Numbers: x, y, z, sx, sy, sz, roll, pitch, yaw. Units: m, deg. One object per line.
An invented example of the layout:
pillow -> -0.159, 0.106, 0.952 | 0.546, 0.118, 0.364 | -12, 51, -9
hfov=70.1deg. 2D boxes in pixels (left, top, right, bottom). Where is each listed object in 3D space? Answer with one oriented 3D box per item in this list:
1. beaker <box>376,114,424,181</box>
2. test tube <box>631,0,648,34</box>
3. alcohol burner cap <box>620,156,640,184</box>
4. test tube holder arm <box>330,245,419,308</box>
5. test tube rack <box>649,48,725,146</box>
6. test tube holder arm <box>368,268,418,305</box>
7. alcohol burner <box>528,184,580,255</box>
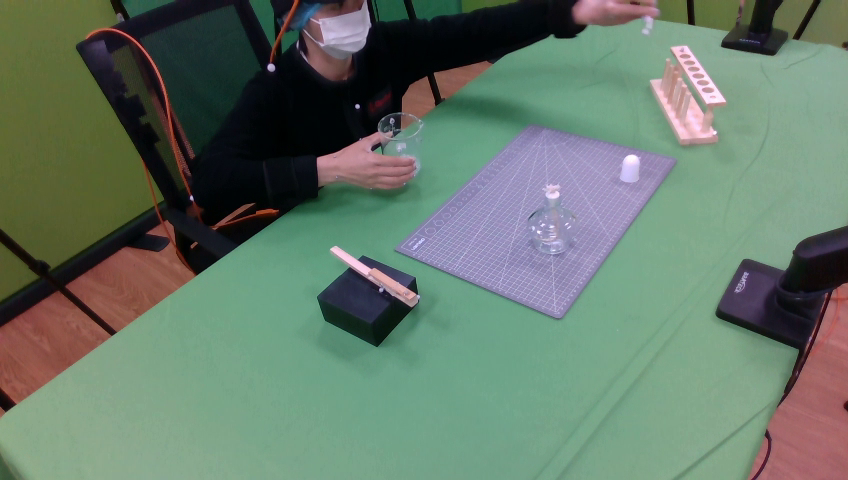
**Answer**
beaker -> -0.039, -0.162, 1.066 | 0.084, 0.100, 0.073 | -14, 49, -10
test tube -> 0.386, -0.421, 1.067 | 0.017, 0.017, 0.150 | 11, 62, 21
alcohol burner cap -> 0.358, -0.124, 1.047 | 0.034, 0.048, 0.033 | -4, 40, 4
test tube holder arm -> -0.074, 0.049, 0.857 | 0.015, 0.013, 0.177 | -36, 48, -29
test tube rack -> 0.508, -0.285, 1.186 | 0.067, 0.085, 0.241 | -4, 40, 6
test tube holder arm -> -0.043, 0.063, 0.827 | 0.015, 0.010, 0.087 | -36, 47, -29
alcohol burner -> 0.196, -0.036, 0.911 | 0.078, 0.119, 0.077 | -6, 41, 5
